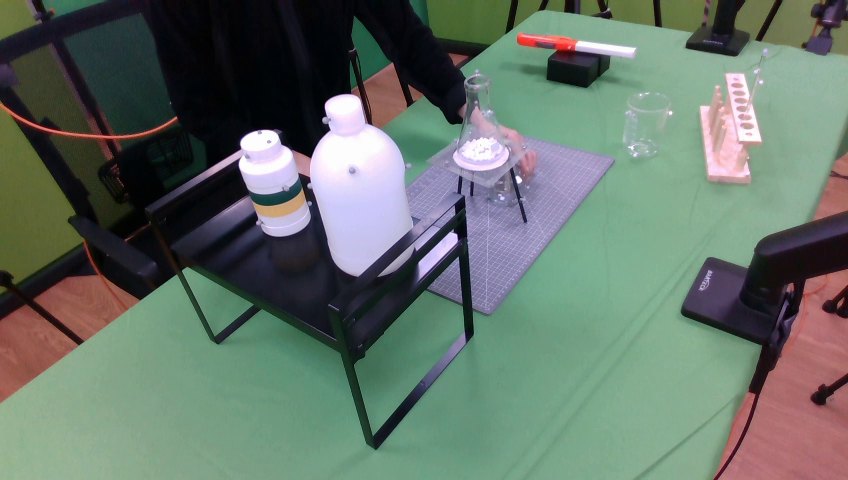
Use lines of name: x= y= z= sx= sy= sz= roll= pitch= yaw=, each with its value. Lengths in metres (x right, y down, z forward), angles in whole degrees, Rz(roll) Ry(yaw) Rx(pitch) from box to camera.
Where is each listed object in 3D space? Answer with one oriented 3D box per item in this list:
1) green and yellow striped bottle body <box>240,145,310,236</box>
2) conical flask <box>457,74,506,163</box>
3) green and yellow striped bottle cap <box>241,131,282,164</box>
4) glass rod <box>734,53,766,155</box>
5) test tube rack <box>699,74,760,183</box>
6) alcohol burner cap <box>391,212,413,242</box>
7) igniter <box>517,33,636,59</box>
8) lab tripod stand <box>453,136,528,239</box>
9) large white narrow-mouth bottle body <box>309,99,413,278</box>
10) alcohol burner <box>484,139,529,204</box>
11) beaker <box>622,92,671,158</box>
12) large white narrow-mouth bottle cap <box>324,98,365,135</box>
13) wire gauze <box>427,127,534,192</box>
green and yellow striped bottle body: x=-0.181 y=-0.069 z=0.729 sx=0.063 sy=0.120 sz=0.063 roll=-4 pitch=40 yaw=4
conical flask: x=0.082 y=-0.181 z=0.893 sx=0.075 sy=0.122 sz=0.075 roll=-4 pitch=41 yaw=4
green and yellow striped bottle cap: x=-0.187 y=-0.107 z=0.695 sx=0.045 sy=0.020 sz=0.045 roll=-3 pitch=39 yaw=3
glass rod: x=0.541 y=-0.220 z=1.007 sx=0.008 sy=0.201 sz=0.008 roll=-5 pitch=45 yaw=6
test tube rack: x=0.547 y=-0.208 z=1.095 sx=0.066 sy=0.085 sz=0.242 roll=6 pitch=42 yaw=16
alcohol burner cap: x=-0.038 y=-0.023 z=0.990 sx=0.034 sy=0.048 sz=0.033 roll=-5 pitch=40 yaw=4
igniter: x=0.336 y=-0.441 z=1.369 sx=0.275 sy=0.025 sz=0.057 roll=16 pitch=41 yaw=23
lab tripod stand: x=0.094 y=-0.086 z=0.974 sx=0.148 sy=0.132 sz=0.147 roll=-4 pitch=43 yaw=4
large white narrow-mouth bottle body: x=-0.068 y=-0.057 z=0.644 sx=0.102 sy=0.195 sz=0.101 roll=-3 pitch=42 yaw=3
alcohol burner: x=0.139 y=-0.121 z=1.024 sx=0.078 sy=0.119 sz=0.077 roll=-5 pitch=42 yaw=5
beaker: x=0.402 y=-0.210 z=1.106 sx=0.074 sy=0.101 sz=0.083 roll=-9 pitch=40 yaw=-2
large white narrow-mouth bottle cap: x=-0.076 y=-0.120 z=0.585 sx=0.038 sy=0.024 sz=0.037 roll=-3 pitch=42 yaw=3
wire gauze: x=0.086 y=-0.130 z=0.925 sx=0.124 sy=0.011 sz=0.122 roll=28 pitch=54 yaw=31
